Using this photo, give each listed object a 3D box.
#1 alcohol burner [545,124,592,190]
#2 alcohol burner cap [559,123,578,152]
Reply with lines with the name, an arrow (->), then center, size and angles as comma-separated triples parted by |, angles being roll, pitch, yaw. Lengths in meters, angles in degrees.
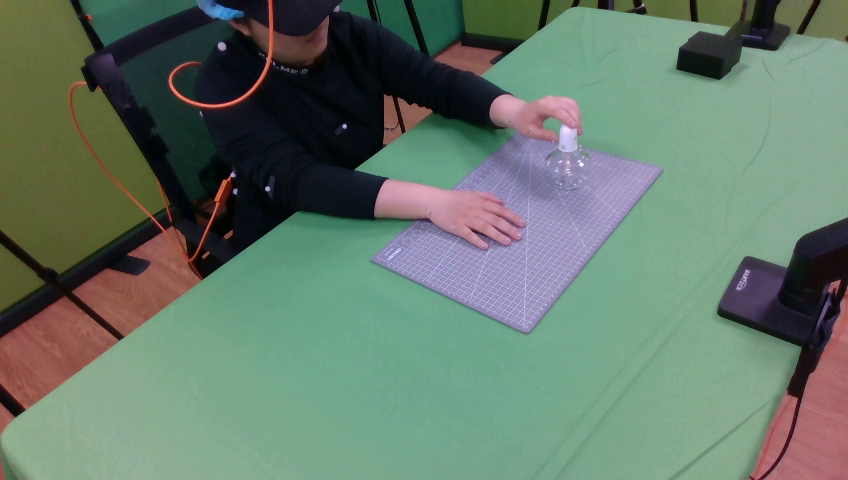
alcohol burner -> 0.247, -0.146, 1.035 | 0.078, 0.120, 0.077 | -7, 41, 6
alcohol burner cap -> 0.241, -0.173, 1.010 | 0.034, 0.048, 0.033 | -7, 44, 7
